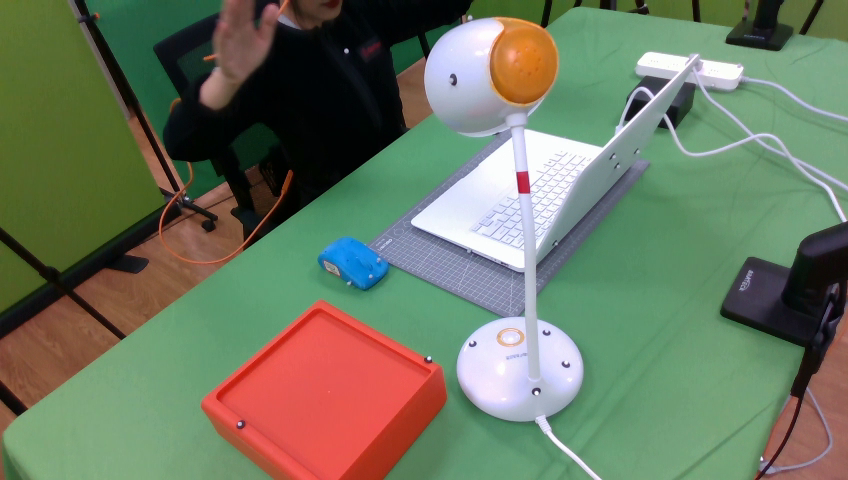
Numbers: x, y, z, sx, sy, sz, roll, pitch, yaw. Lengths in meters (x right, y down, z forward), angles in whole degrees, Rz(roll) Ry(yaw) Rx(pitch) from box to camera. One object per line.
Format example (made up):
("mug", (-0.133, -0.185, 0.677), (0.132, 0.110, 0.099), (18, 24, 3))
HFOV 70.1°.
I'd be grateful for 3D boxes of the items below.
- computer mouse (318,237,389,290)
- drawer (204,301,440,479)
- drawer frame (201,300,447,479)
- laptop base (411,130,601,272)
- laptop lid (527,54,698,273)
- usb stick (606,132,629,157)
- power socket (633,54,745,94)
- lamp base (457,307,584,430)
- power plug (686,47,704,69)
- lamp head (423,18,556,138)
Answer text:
("computer mouse", (-0.113, 0.033, 0.959), (0.116, 0.041, 0.063), (27, 50, 31))
("drawer", (-0.120, 0.193, 0.734), (0.210, 0.073, 0.195), (23, 48, 32))
("drawer frame", (-0.117, 0.193, 0.733), (0.212, 0.083, 0.202), (23, 48, 32))
("laptop base", (0.175, -0.083, 1.054), (0.233, 0.023, 0.355), (21, 49, 36))
("laptop lid", (0.281, -0.113, 0.896), (0.013, 0.242, 0.358), (38, 55, 17))
("usb stick", (0.353, -0.174, 1.109), (0.021, 0.027, 0.059), (23, 49, 32))
("power socket", (0.563, -0.358, 1.295), (0.225, 0.033, 0.072), (21, 50, 30))
("lamp base", (0.115, 0.108, 0.713), (0.161, 0.181, 0.178), (-17, 43, -8))
("power plug", (0.564, -0.384, 1.247), (0.035, 0.073, 0.052), (22, 72, 15))
("lamp head", (0.068, -0.151, 0.563), (0.113, 0.113, 0.122), (-21, 18, -13))
